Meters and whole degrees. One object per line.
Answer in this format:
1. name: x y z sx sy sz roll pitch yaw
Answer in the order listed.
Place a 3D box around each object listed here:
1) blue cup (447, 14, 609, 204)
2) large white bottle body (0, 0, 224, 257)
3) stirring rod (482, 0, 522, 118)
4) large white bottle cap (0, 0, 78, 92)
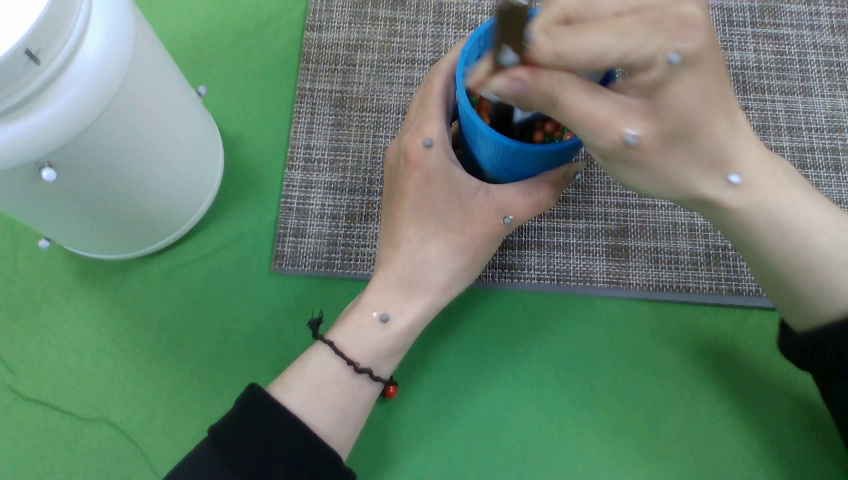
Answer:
1. blue cup: 0.058 -0.068 0.365 0.092 0.101 0.092 -1 72 4
2. large white bottle body: -0.200 -0.076 0.327 0.130 0.185 0.130 0 72 0
3. stirring rod: 0.036 -0.071 0.287 0.014 0.177 0.006 -25 80 3
4. large white bottle cap: -0.202 -0.103 0.247 0.115 0.018 0.114 0 72 0
